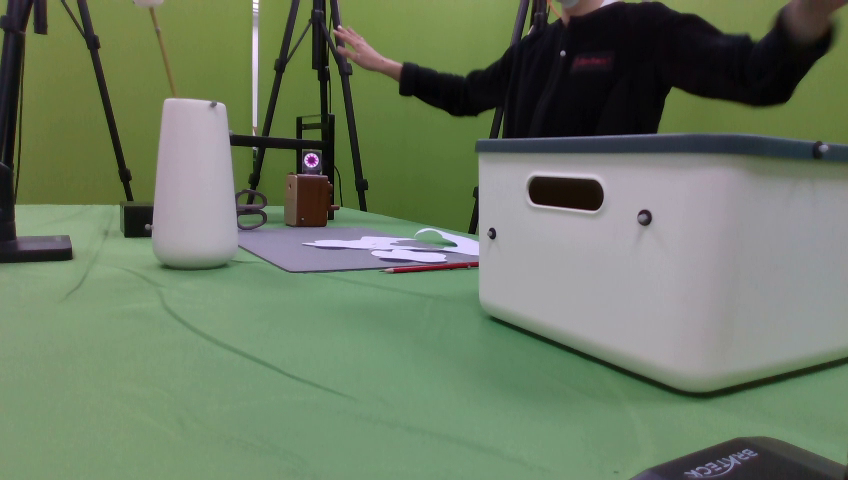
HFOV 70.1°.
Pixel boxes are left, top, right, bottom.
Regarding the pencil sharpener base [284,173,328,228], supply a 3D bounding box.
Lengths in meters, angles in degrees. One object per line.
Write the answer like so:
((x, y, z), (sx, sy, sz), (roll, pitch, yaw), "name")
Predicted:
((-0.239, -0.081, 1.231), (0.077, 0.107, 0.061), (-2, 8, -36), "pencil sharpener base")

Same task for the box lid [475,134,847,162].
((0.256, -0.073, 0.528), (0.373, 0.015, 0.262), (-2, 8, -31), "box lid")

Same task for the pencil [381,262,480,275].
((0.030, 0.037, 0.794), (0.195, 0.012, 0.012), (-3, 9, -30), "pencil")

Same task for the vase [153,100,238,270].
((-0.278, -0.066, 0.736), (0.098, 0.200, 0.098), (2, 9, 0), "vase")

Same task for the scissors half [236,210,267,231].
((-0.367, -0.042, 1.071), (0.176, 0.040, 0.012), (7, 11, -31), "scissors half")

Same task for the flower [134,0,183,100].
((-0.282, -0.147, 0.713), (0.038, 0.362, 0.044), (-23, 24, -31), "flower")

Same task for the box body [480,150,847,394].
((0.254, 0.002, 0.539), (0.366, 0.160, 0.253), (-2, 8, -31), "box body")

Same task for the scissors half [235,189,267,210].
((-0.365, -0.062, 1.067), (0.176, 0.040, 0.013), (-12, 15, -28), "scissors half")

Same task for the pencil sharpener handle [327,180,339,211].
((-0.194, -0.095, 1.256), (0.031, 0.067, 0.036), (-2, -6, -36), "pencil sharpener handle")
